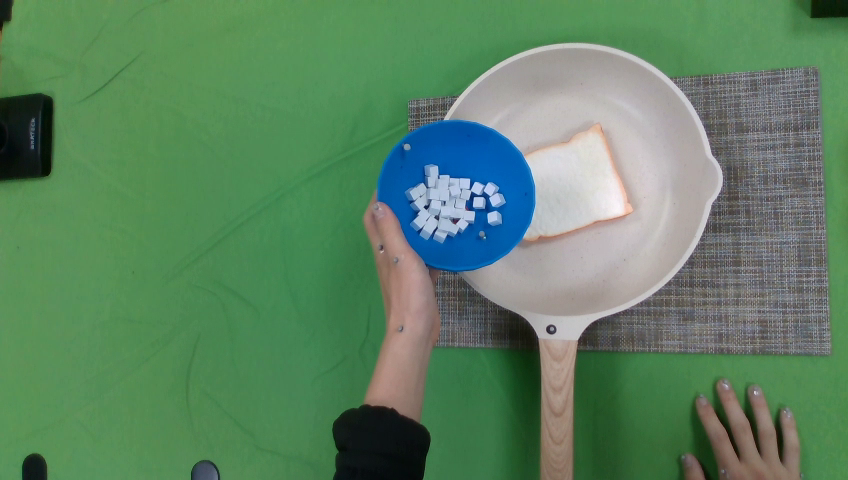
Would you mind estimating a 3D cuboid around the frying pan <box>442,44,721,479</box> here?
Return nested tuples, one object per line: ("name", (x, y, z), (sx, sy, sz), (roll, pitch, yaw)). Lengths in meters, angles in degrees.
("frying pan", (0.142, 0.042, 0.636), (0.306, 0.103, 0.485), (1, 78, 15))

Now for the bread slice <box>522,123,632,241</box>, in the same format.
("bread slice", (0.153, -0.055, 0.682), (0.134, 0.018, 0.106), (-23, 80, 8))

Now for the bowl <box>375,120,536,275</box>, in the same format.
("bowl", (0.029, -0.033, 0.598), (0.151, 0.077, 0.150), (1, 76, -2))
